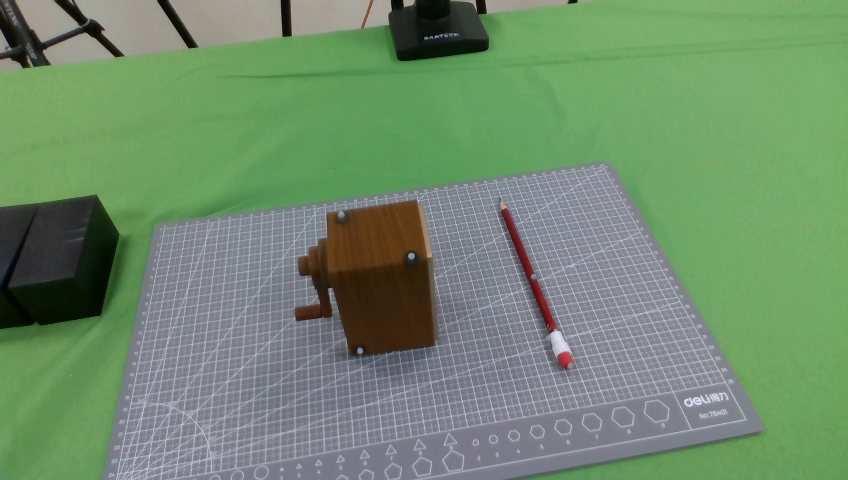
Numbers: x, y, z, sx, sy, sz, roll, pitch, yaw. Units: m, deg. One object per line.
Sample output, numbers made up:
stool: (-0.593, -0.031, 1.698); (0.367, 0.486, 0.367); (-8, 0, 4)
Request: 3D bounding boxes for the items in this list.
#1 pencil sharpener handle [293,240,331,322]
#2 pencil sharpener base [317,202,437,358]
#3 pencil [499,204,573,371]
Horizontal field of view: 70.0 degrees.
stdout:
pencil sharpener handle: (-0.084, 0.033, 0.435); (0.031, 0.068, 0.035); (-8, 36, -3)
pencil sharpener base: (-0.033, 0.033, 0.450); (0.077, 0.108, 0.060); (-8, 47, -3)
pencil: (0.089, 0.030, 0.514); (0.012, 0.012, 0.192); (-9, 44, -5)
